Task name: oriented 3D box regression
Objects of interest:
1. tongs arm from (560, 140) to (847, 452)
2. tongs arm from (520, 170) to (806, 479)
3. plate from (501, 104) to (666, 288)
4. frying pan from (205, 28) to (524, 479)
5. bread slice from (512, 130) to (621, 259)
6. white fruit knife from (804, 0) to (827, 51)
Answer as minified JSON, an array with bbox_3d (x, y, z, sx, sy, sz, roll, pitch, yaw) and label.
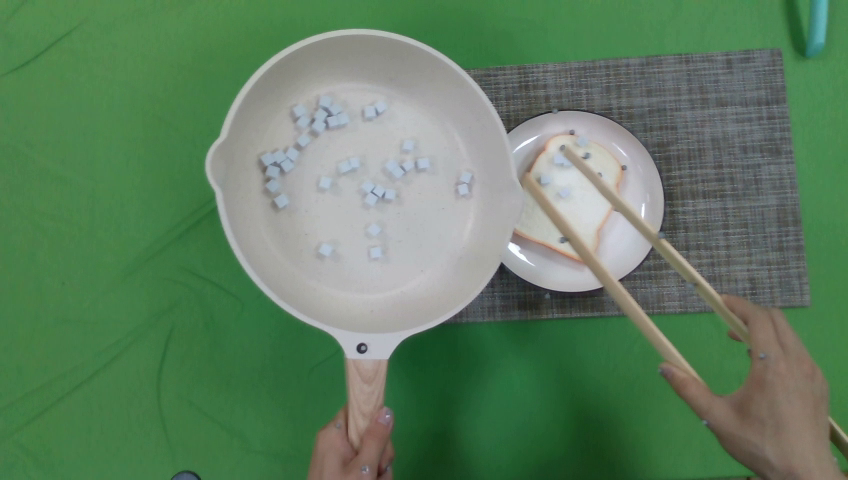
[{"bbox_3d":[0.238,0.064,0.517,0.051,0.026,0.383,-41,78,-10],"label":"tongs arm"},{"bbox_3d":[0.214,0.082,0.512,0.028,0.028,0.385,-38,78,-13],"label":"tongs arm"},{"bbox_3d":[0.163,-0.048,0.685,0.207,0.039,0.207,0,85,3],"label":"plate"},{"bbox_3d":[-0.055,0.049,0.578,0.308,0.102,0.485,5,79,-18],"label":"frying pan"},{"bbox_3d":[0.160,-0.056,0.688,0.107,0.018,0.134,20,88,3],"label":"bread slice"},{"bbox_3d":[0.443,-0.322,0.680,0.016,0.027,0.208,-3,99,1],"label":"white fruit knife"}]
